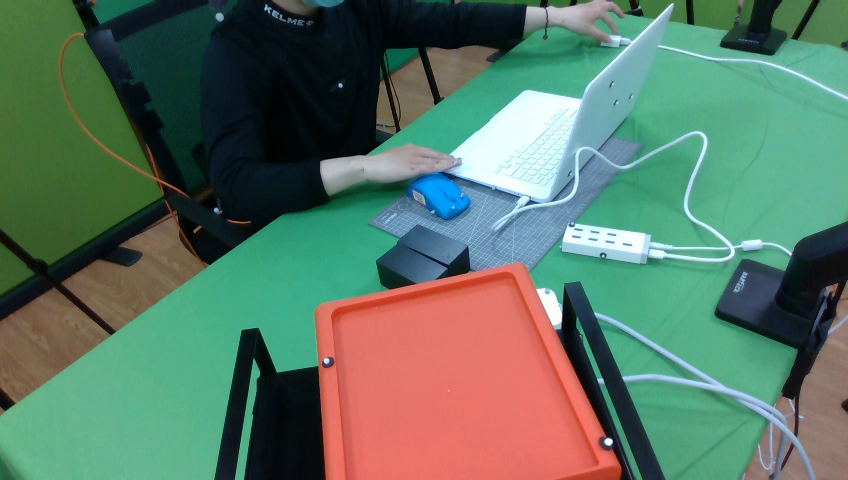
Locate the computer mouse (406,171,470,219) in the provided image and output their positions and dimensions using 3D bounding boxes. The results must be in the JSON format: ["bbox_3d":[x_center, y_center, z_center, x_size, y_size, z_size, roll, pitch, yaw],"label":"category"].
[{"bbox_3d":[0.024,-0.082,1.049,0.063,0.041,0.116,-30,50,-27],"label":"computer mouse"}]

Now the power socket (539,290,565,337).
[{"bbox_3d":[0.081,0.112,0.822,0.227,0.033,0.072,-6,41,0],"label":"power socket"}]

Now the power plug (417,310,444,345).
[{"bbox_3d":[0.007,0.122,0.785,0.035,0.053,0.072,1,39,7],"label":"power plug"}]

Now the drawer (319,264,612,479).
[{"bbox_3d":[0.020,0.129,0.497,0.195,0.073,0.210,-11,41,-5],"label":"drawer"}]

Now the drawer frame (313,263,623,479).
[{"bbox_3d":[0.021,0.130,0.493,0.202,0.083,0.212,-11,41,-6],"label":"drawer frame"}]

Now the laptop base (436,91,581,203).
[{"bbox_3d":[0.215,-0.192,1.172,0.233,0.023,0.355,19,46,32],"label":"laptop base"}]

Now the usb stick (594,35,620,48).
[{"bbox_3d":[0.444,-0.482,1.467,0.059,0.021,0.027,9,42,12],"label":"usb stick"}]

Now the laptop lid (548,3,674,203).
[{"bbox_3d":[0.320,-0.235,1.026,0.013,0.242,0.357,31,50,20],"label":"laptop lid"}]

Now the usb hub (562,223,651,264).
[{"bbox_3d":[0.279,0.004,0.926,0.124,0.025,0.049,10,43,19],"label":"usb hub"}]
